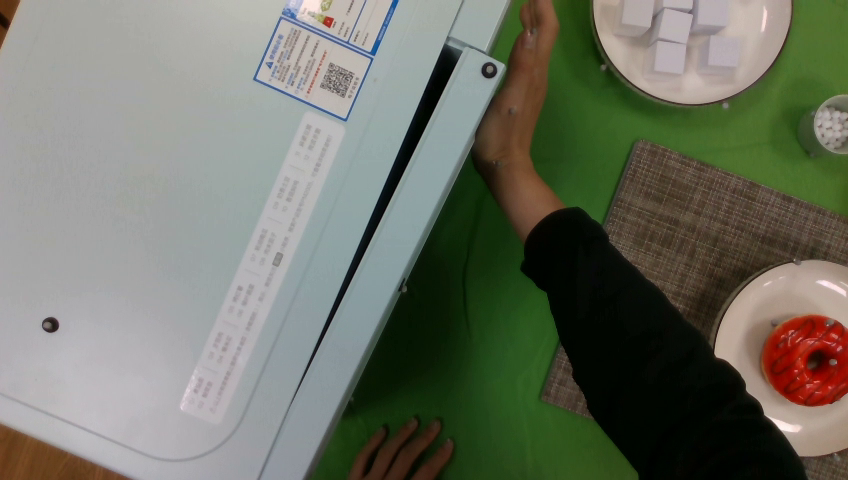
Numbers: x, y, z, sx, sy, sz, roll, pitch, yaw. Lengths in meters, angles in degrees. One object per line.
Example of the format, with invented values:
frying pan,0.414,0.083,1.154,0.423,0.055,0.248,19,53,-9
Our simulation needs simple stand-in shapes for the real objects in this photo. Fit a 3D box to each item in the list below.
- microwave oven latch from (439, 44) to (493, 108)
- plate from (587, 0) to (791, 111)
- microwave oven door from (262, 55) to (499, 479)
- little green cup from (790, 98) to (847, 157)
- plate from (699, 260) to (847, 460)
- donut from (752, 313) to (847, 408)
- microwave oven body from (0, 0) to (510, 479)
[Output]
microwave oven latch,0.042,-0.169,0.616,0.030,0.029,0.079,26,92,-1
plate,0.272,-0.237,0.636,0.208,0.039,0.207,0,91,0
microwave oven door,-0.041,0.037,0.519,0.039,0.243,0.355,26,91,-1
little green cup,0.423,-0.116,0.640,0.061,0.038,0.061,0,90,0
plate,0.391,0.124,0.642,0.209,0.038,0.209,0,91,0
donut,0.393,0.125,0.631,0.099,0.048,0.099,0,92,1
microwave oven body,-0.164,-0.064,0.521,0.326,0.260,0.441,23,92,-1
